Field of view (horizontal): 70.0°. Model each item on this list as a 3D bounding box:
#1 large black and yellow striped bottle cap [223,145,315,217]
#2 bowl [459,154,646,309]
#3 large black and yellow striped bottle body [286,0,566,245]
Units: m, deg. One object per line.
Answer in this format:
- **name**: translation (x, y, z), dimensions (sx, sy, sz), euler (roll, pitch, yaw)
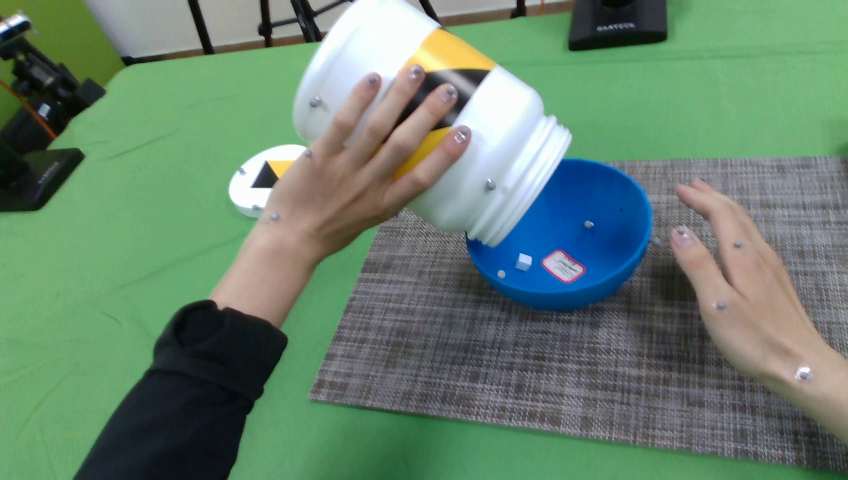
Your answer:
- **large black and yellow striped bottle cap**: translation (-0.192, -0.075, 0.747), dimensions (0.115, 0.019, 0.114), euler (-9, 47, 10)
- **bowl**: translation (0.111, 0.006, 0.519), dimensions (0.151, 0.077, 0.150), euler (-10, 47, 11)
- **large black and yellow striped bottle body**: translation (0.003, -0.089, 0.469), dimensions (0.184, 0.131, 0.130), euler (33, 61, -2)
